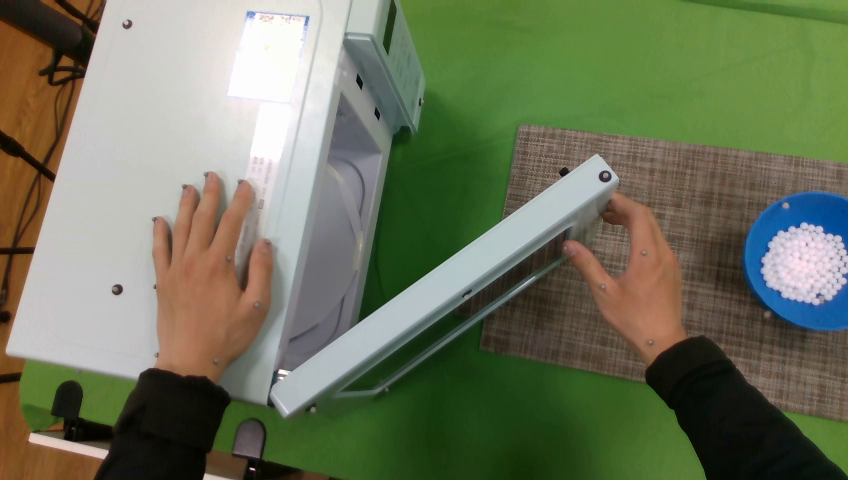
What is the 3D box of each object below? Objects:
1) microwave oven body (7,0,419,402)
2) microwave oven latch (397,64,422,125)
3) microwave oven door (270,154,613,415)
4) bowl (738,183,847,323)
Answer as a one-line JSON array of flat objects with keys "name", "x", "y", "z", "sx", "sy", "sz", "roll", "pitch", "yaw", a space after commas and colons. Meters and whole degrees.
[{"name": "microwave oven body", "x": -0.211, "y": -0.062, "z": 0.702, "sx": 0.325, "sy": 0.261, "sz": 0.440, "roll": 8, "pitch": 80, "yaw": 10}, {"name": "microwave oven latch", "x": -0.021, "y": -0.194, "z": 0.799, "sx": 0.030, "sy": 0.029, "sz": 0.079, "roll": 9, "pitch": 81, "yaw": 11}, {"name": "microwave oven door", "x": 0.032, "y": 0.061, "z": 0.633, "sx": 0.356, "sy": 0.245, "sz": 0.039, "roll": -36, "pitch": 74, "yaw": 1}, {"name": "bowl", "x": 0.421, "y": 0.021, "z": 0.676, "sx": 0.151, "sy": 0.077, "sz": 0.150, "roll": -2, "pitch": 78, "yaw": 9}]
